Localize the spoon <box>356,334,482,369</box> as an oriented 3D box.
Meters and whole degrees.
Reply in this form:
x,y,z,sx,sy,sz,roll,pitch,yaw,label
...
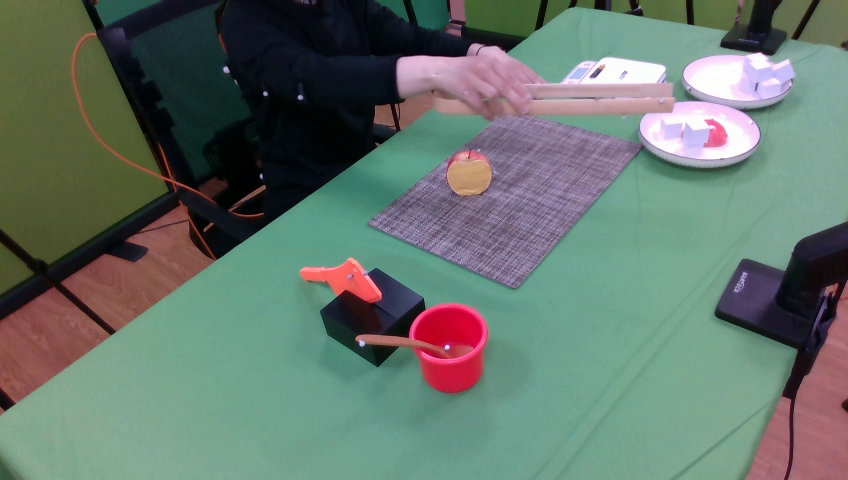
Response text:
x,y,z,sx,sy,sz,roll,pitch,yaw,label
-0.002,0.130,0.731,0.195,0.021,0.041,21,27,-39,spoon

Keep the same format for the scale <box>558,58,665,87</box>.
x,y,z,sx,sy,sz,roll,pitch,yaw,label
0.406,-0.348,1.314,0.199,0.032,0.149,19,47,28,scale

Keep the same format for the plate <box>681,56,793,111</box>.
x,y,z,sx,sy,sz,roll,pitch,yaw,label
0.636,-0.317,1.239,0.207,0.039,0.206,-4,40,4,plate

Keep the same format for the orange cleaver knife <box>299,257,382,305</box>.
x,y,z,sx,sy,sz,roll,pitch,yaw,label
-0.124,0.062,0.872,0.012,0.077,0.210,-38,17,-29,orange cleaver knife

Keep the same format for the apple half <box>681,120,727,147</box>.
x,y,z,sx,sy,sz,roll,pitch,yaw,label
0.518,-0.202,1.115,0.081,0.033,0.081,-1,40,2,apple half

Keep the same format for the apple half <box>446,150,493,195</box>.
x,y,z,sx,sy,sz,roll,pitch,yaw,label
0.080,-0.124,1.065,0.081,0.075,0.053,-7,37,7,apple half

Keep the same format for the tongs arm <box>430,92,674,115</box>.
x,y,z,sx,sy,sz,roll,pitch,yaw,label
0.199,-0.223,0.983,0.384,0.026,0.050,1,38,9,tongs arm

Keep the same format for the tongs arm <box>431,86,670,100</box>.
x,y,z,sx,sy,sz,roll,pitch,yaw,label
0.204,-0.241,1.005,0.387,0.028,0.028,3,42,11,tongs arm

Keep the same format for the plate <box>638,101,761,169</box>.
x,y,z,sx,sy,sz,roll,pitch,yaw,label
0.500,-0.189,1.111,0.209,0.038,0.208,-4,41,4,plate
